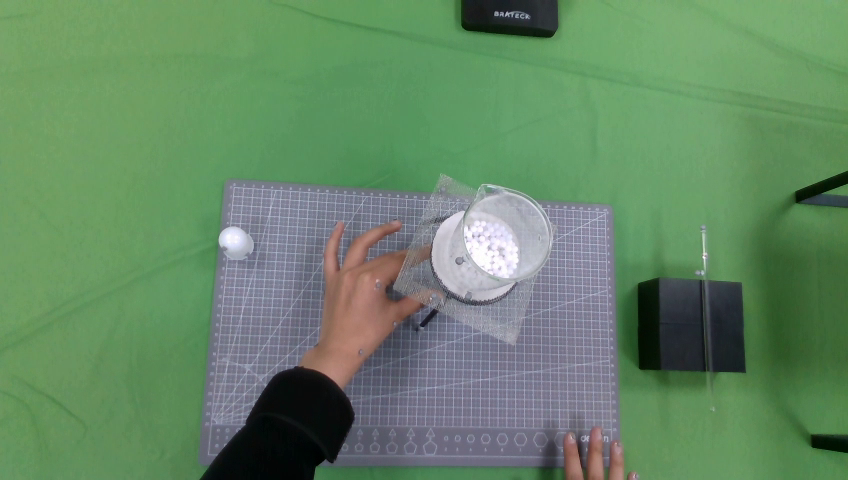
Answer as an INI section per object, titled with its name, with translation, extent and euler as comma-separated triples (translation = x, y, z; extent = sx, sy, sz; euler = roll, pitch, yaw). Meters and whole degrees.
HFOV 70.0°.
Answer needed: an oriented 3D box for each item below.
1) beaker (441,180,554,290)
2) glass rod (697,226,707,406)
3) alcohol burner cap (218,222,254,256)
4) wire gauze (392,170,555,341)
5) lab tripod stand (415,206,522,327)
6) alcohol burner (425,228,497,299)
[beaker]
translation = 0.055, 0.000, 0.511
extent = 0.074, 0.100, 0.083
euler = -21, 83, -13
[glass rod]
translation = 0.308, 0.081, 0.670
extent = 0.008, 0.008, 0.199
euler = 5, 80, -7
[alcohol burner cap]
translation = -0.199, -0.003, 0.637
extent = 0.034, 0.048, 0.033
euler = 1, 79, -6
[wire gauze]
translation = 0.047, 0.013, 0.558
extent = 0.125, 0.011, 0.121
euler = 25, 78, -6
[lab tripod stand]
translation = 0.043, 0.023, 0.622
extent = 0.149, 0.132, 0.147
euler = 2, 77, -9
[alcohol burner]
translation = 0.043, 0.022, 0.632
extent = 0.078, 0.119, 0.077
euler = 2, 79, -10
